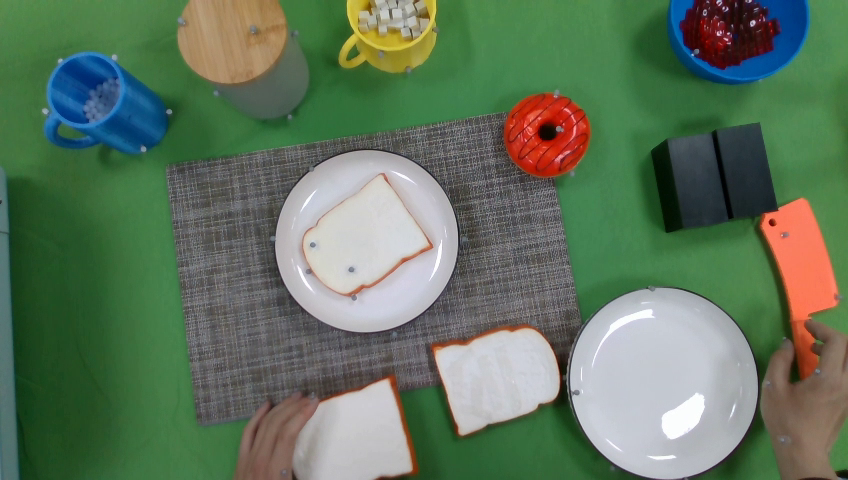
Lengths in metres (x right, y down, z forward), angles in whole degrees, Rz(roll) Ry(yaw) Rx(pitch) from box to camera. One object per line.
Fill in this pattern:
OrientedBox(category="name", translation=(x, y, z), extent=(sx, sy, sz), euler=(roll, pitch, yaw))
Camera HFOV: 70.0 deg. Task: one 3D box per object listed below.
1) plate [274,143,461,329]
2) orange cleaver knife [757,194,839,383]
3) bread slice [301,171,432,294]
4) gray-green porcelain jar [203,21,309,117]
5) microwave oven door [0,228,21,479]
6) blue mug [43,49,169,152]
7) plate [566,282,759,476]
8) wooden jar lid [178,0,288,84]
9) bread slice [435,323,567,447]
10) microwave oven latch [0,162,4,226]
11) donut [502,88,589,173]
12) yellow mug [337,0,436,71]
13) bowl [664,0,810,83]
OrientedBox(category="plate", translation=(-0.062, -0.004, 0.687), extent=(0.208, 0.039, 0.207), euler=(0, 85, 1))
OrientedBox(category="orange cleaver knife", translation=(0.434, 0.053, 0.689), extent=(0.077, 0.012, 0.210), euler=(-8, 83, -7))
OrientedBox(category="bread slice", translation=(-0.071, -0.001, 0.689), extent=(0.131, 0.019, 0.104), euler=(-35, 85, -4))
OrientedBox(category="gray-green porcelain jar", translation=(-0.187, -0.199, 0.666), extent=(0.106, 0.127, 0.105), euler=(0, 84, 1))
OrientedBox(category="microwave oven door", translation=(-0.475, 0.152, 0.561), extent=(0.039, 0.244, 0.355), euler=(-6, 84, 1))
OrientedBox(category="blue mug", translation=(-0.360, -0.142, 0.672), extent=(0.116, 0.106, 0.082), euler=(-35, 85, -2))
OrientedBox(category="plate", translation=(0.259, 0.151, 0.673), extent=(0.209, 0.038, 0.208), euler=(0, 85, 1))
OrientedBox(category="wooden jar lid", translation=(-0.188, -0.206, 0.604), extent=(0.108, 0.021, 0.108), euler=(0, 83, 2))
OrientedBox(category="bread slice", translation=(0.091, 0.149, 0.649), extent=(0.134, 0.018, 0.106), euler=(-15, 81, -20))
OrientedBox(category="microwave oven latch", translation=(-0.494, -0.055, 0.682), extent=(0.030, 0.029, 0.079), euler=(-4, 85, 0))
OrientedBox(category="donut", translation=(0.138, -0.125, 0.692), extent=(0.099, 0.048, 0.099), euler=(0, 86, 1))
OrientedBox(category="yellow mug", translation=(-0.048, -0.245, 0.698), extent=(0.131, 0.064, 0.100), euler=(-41, 85, -2))
OrientedBox(category="bowl", translation=(0.339, -0.242, 0.687), extent=(0.151, 0.077, 0.151), euler=(0, 85, 1))
